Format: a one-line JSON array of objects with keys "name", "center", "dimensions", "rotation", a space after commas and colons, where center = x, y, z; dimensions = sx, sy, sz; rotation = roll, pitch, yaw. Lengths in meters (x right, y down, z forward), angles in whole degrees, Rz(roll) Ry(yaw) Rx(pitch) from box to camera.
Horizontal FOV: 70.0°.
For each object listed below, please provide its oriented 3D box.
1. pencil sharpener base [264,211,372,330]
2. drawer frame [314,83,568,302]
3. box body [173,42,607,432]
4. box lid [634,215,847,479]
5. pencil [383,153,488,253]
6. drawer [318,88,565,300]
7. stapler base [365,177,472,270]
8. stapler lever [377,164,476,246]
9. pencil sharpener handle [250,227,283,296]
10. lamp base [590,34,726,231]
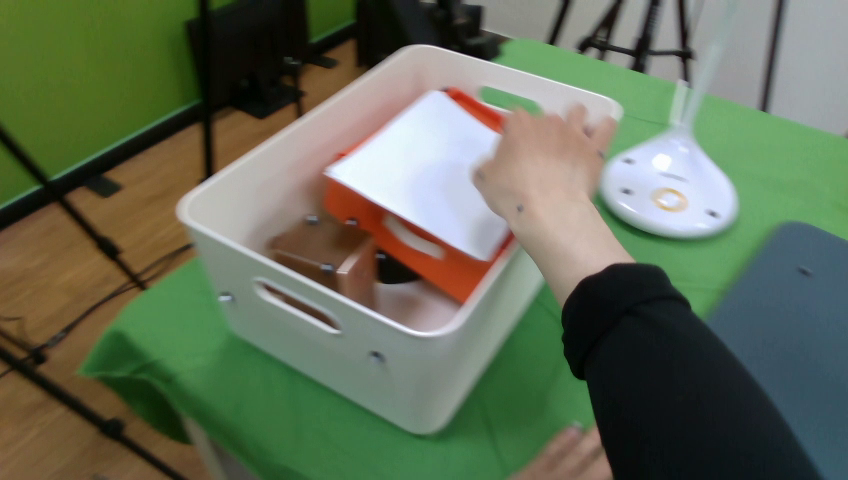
[{"name": "pencil sharpener base", "center": [-0.097, 0.036, 0.561], "dimensions": [0.076, 0.108, 0.061], "rotation": [16, 46, 17]}, {"name": "drawer frame", "center": [0.032, -0.056, 0.624], "dimensions": [0.201, 0.083, 0.213], "rotation": [32, 41, 11]}, {"name": "box body", "center": [-0.010, -0.027, 0.597], "dimensions": [0.252, 0.162, 0.363], "rotation": [23, 48, 21]}, {"name": "box lid", "center": [0.390, 0.117, 0.564], "dimensions": [0.261, 0.015, 0.371], "rotation": [31, 51, 29]}, {"name": "pencil", "center": [0.008, -0.042, 0.628], "dimensions": [0.012, 0.012, 0.192], "rotation": [-24, 47, -23]}, {"name": "drawer", "center": [0.033, -0.054, 0.621], "dimensions": [0.194, 0.073, 0.211], "rotation": [32, 42, 11]}, {"name": "stapler base", "center": [-0.003, -0.023, 0.604], "dimensions": [0.041, 0.024, 0.129], "rotation": [-24, 58, -42]}, {"name": "stapler lever", "center": [0.003, -0.041, 0.588], "dimensions": [0.027, 0.040, 0.117], "rotation": [-24, 59, -42]}, {"name": "pencil sharpener handle", "center": [-0.147, 0.017, 0.559], "dimensions": [0.030, 0.068, 0.036], "rotation": [17, 13, 17]}, {"name": "lamp base", "center": [0.288, -0.131, 0.698], "dimensions": [0.160, 0.182, 0.178], "rotation": [8, 42, 7]}]
